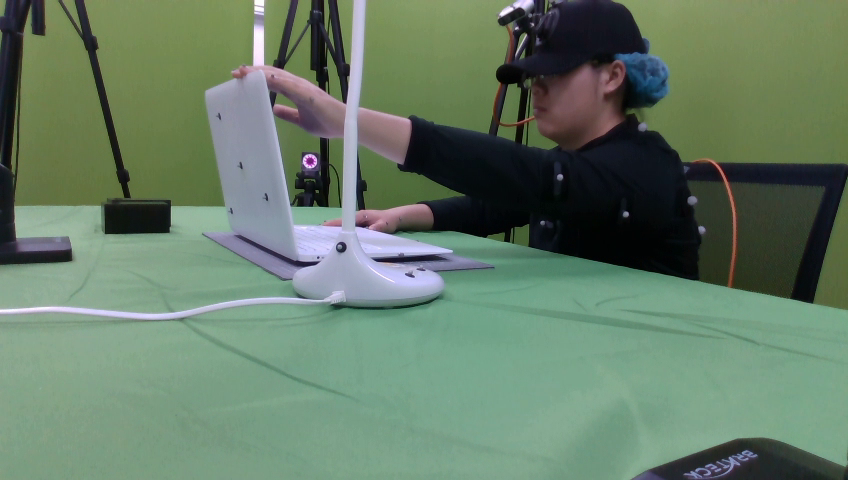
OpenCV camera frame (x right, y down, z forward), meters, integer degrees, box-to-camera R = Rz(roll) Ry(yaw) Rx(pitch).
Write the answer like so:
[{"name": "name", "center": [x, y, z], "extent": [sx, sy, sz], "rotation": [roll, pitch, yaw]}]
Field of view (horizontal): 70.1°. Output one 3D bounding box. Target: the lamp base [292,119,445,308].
[{"name": "lamp base", "center": [-0.056, -0.030, 0.616], "extent": [0.160, 0.180, 0.179], "rotation": [3, 10, 8]}]

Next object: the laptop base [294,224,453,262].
[{"name": "laptop base", "center": [-0.143, 0.003, 0.957], "extent": [0.237, 0.023, 0.352], "rotation": [2, 6, -32]}]

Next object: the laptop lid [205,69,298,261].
[{"name": "laptop lid", "center": [-0.259, -0.109, 0.869], "extent": [0.013, 0.241, 0.355], "rotation": [-14, 16, -29]}]
